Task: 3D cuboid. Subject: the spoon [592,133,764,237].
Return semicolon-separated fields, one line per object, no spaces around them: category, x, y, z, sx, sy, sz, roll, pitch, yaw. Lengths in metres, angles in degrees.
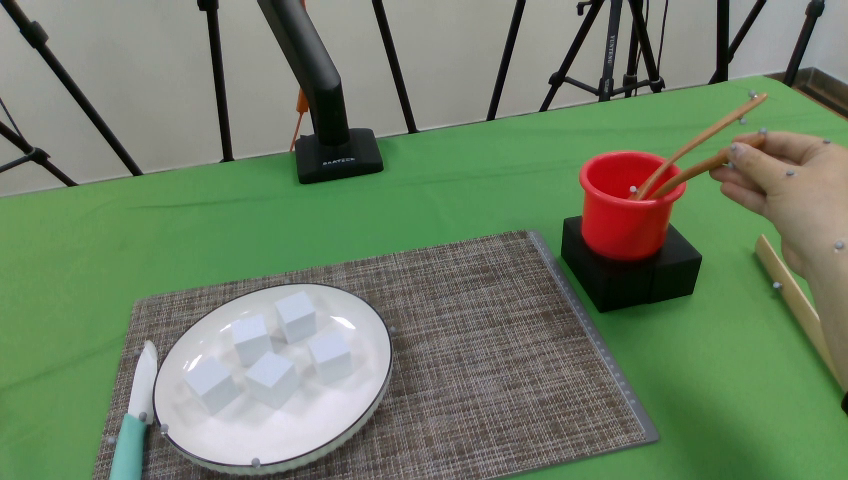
spoon;0.216;-0.045;0.542;0.021;0.194;0.041;48;58;3

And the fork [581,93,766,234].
fork;0.240;-0.072;0.590;0.207;0.019;0.028;-43;14;18

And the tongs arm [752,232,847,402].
tongs arm;0.369;0.118;0.516;0.028;0.028;0.383;-1;38;0

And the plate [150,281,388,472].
plate;-0.134;0.120;0.548;0.207;0.039;0.205;-2;38;2

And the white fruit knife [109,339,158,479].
white fruit knife;-0.251;0.158;0.529;0.027;0.016;0.205;13;29;-25
